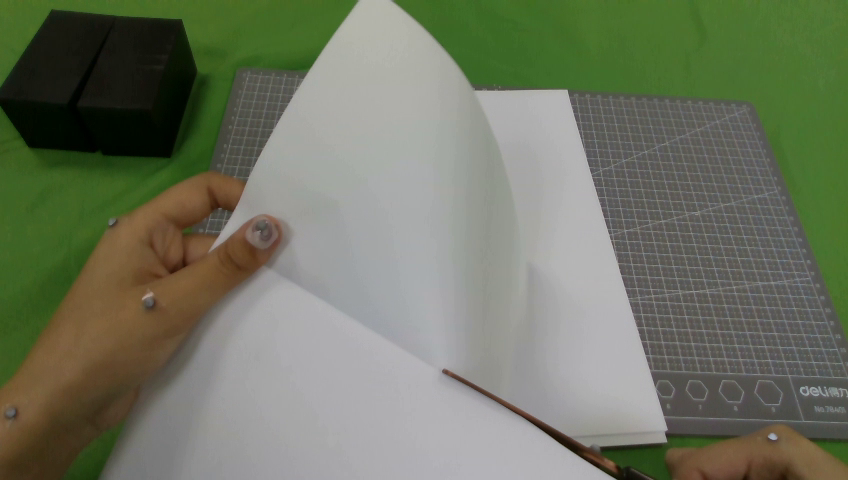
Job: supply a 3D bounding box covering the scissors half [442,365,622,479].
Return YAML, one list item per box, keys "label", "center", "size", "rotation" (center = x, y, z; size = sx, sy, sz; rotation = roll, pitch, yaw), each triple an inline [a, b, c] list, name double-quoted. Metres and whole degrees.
- label: "scissors half"
  center: [0.082, 0.102, 0.277]
  size: [0.175, 0.040, 0.012]
  rotation: [33, 75, -6]

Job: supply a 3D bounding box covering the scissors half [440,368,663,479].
- label: "scissors half"
  center: [0.084, 0.096, 0.257]
  size: [0.174, 0.040, 0.013]
  rotation: [25, 69, 16]
